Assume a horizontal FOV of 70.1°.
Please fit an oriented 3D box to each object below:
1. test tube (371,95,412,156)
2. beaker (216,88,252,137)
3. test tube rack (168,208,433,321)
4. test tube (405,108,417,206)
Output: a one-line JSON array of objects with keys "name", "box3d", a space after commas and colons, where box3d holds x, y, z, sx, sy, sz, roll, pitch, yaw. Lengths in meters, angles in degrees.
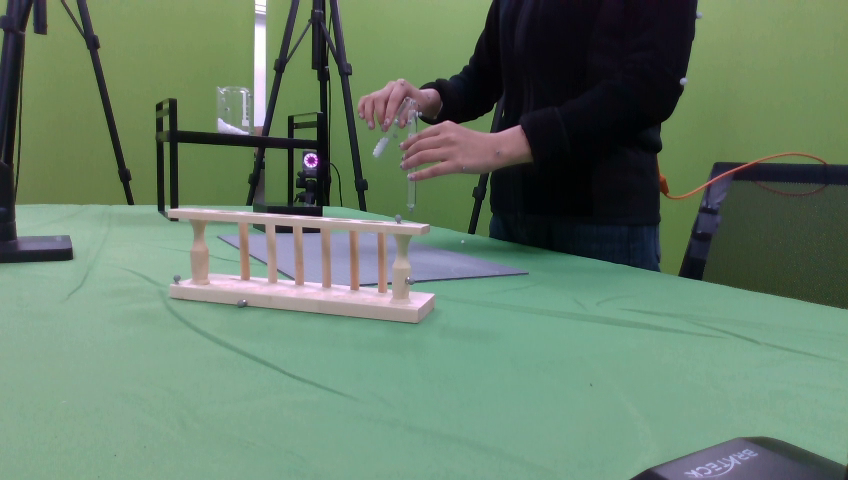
[{"name": "test tube", "box3d": [-0.056, -0.185, 0.998, 0.017, 0.017, 0.150, -2, -27, -30]}, {"name": "beaker", "box3d": [-0.412, -0.276, 1.310, 0.074, 0.100, 0.084, 4, 8, 16]}, {"name": "test tube rack", "box3d": [-0.116, 0.017, 0.574, 0.242, 0.085, 0.067, 4, 8, 13]}, {"name": "test tube", "box3d": [-0.021, -0.127, 0.927, 0.017, 0.150, 0.017, 1, 0, 0]}]
